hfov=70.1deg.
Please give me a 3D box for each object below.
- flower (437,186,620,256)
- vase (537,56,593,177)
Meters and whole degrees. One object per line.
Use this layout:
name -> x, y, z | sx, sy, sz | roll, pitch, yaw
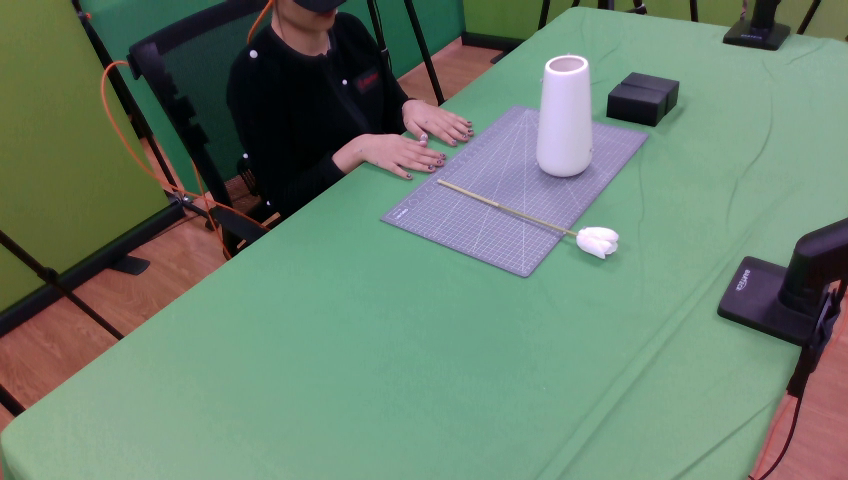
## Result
flower -> 0.156, -0.045, 1.011 | 0.358, 0.038, 0.044 | 22, 86, 38
vase -> 0.245, -0.209, 1.040 | 0.098, 0.201, 0.097 | -4, 40, 4
